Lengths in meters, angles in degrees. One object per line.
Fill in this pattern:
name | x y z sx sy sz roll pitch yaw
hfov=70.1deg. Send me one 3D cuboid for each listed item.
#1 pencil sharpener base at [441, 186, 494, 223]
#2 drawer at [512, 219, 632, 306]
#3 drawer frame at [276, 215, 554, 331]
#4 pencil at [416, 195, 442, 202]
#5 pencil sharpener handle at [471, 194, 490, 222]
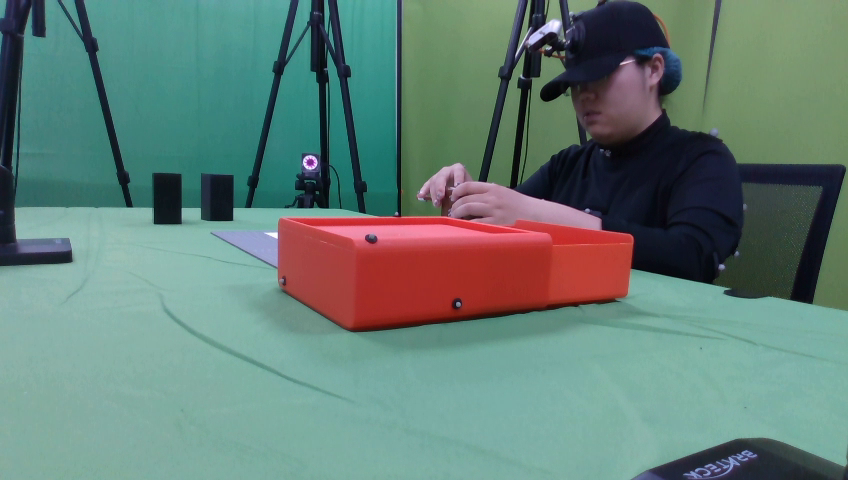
pencil sharpener base | 0.070 -0.032 0.988 0.061 0.107 0.076 -1 9 -28
drawer | 0.085 0.021 0.674 0.213 0.073 0.193 -2 9 -32
drawer frame | -0.015 0.022 0.610 0.215 0.082 0.200 -2 9 -32
pencil | 0.035 -0.069 1.056 0.012 0.012 0.193 -1 7 -30
pencil sharpener handle | 0.097 -0.037 0.943 0.036 0.068 0.030 -11 13 -26
